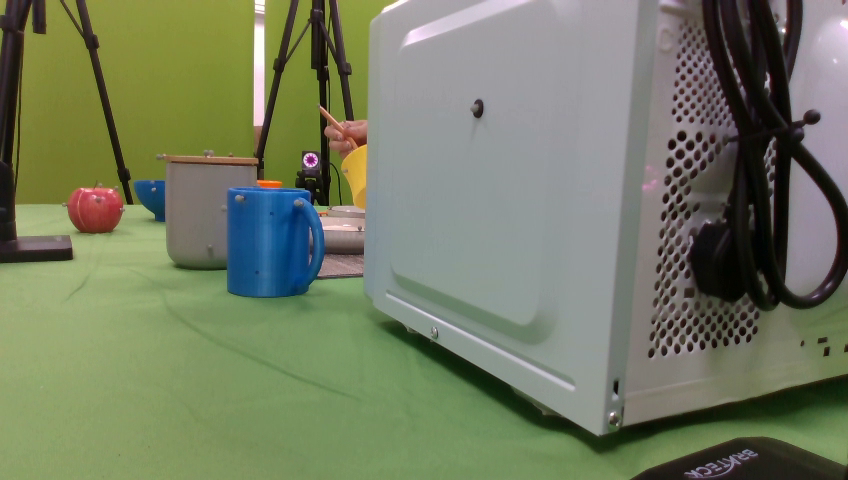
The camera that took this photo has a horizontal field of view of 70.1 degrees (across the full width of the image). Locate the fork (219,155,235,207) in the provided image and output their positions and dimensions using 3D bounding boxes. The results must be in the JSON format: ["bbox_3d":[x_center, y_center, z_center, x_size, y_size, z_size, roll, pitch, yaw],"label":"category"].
[{"bbox_3d":[-0.459,-0.134,1.415,0.028,0.018,0.207,-1,-34,-24],"label":"fork"}]

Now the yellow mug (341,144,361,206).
[{"bbox_3d":[-0.062,-0.111,0.933,0.130,0.064,0.100,-36,-24,34],"label":"yellow mug"}]

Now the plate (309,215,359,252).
[{"bbox_3d":[-0.130,-0.011,0.945,0.208,0.039,0.207,2,8,0],"label":"plate"}]

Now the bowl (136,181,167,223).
[{"bbox_3d":[-0.497,-0.076,1.221,0.151,0.077,0.151,2,8,0],"label":"bowl"}]

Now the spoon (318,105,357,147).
[{"bbox_3d":[-0.116,-0.154,0.965,0.193,0.021,0.042,53,10,24],"label":"spoon"}]

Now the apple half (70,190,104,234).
[{"bbox_3d":[-0.552,-0.047,1.009,0.053,0.074,0.081,0,9,26],"label":"apple half"}]

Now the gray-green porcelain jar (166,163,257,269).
[{"bbox_3d":[-0.263,-0.031,0.754,0.106,0.126,0.106,2,7,0],"label":"gray-green porcelain jar"}]

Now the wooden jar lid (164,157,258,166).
[{"bbox_3d":[-0.261,-0.093,0.746,0.108,0.020,0.108,0,9,0],"label":"wooden jar lid"}]

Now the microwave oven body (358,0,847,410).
[{"bbox_3d":[0.210,-0.051,0.471,0.444,0.260,0.324,-1,7,-28],"label":"microwave oven body"}]

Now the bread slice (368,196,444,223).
[{"bbox_3d":[-0.040,-0.057,1.142,0.107,0.018,0.133,-8,-8,-39],"label":"bread slice"}]

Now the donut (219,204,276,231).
[{"bbox_3d":[-0.316,-0.039,1.083,0.099,0.048,0.099,3,7,0],"label":"donut"}]

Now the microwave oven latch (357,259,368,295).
[{"bbox_3d":[-0.019,0.031,0.529,0.079,0.029,0.030,-1,7,-26],"label":"microwave oven latch"}]

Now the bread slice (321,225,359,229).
[{"bbox_3d":[-0.124,-0.008,0.938,0.131,0.019,0.105,5,8,32],"label":"bread slice"}]

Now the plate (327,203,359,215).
[{"bbox_3d":[-0.102,-0.053,1.299,0.209,0.038,0.209,2,8,0],"label":"plate"}]

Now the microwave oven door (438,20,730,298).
[{"bbox_3d":[0.181,-0.076,0.618,0.358,0.243,0.039,-2,8,-28],"label":"microwave oven door"}]

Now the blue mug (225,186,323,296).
[{"bbox_3d":[-0.148,0.000,0.618,0.116,0.106,0.083,7,9,33],"label":"blue mug"}]

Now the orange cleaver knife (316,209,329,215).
[{"bbox_3d":[-0.259,-0.064,1.423,0.212,0.012,0.077,-4,3,-30],"label":"orange cleaver knife"}]

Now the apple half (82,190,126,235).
[{"bbox_3d":[-0.516,-0.046,0.994,0.032,0.081,0.081,0,6,26],"label":"apple half"}]
